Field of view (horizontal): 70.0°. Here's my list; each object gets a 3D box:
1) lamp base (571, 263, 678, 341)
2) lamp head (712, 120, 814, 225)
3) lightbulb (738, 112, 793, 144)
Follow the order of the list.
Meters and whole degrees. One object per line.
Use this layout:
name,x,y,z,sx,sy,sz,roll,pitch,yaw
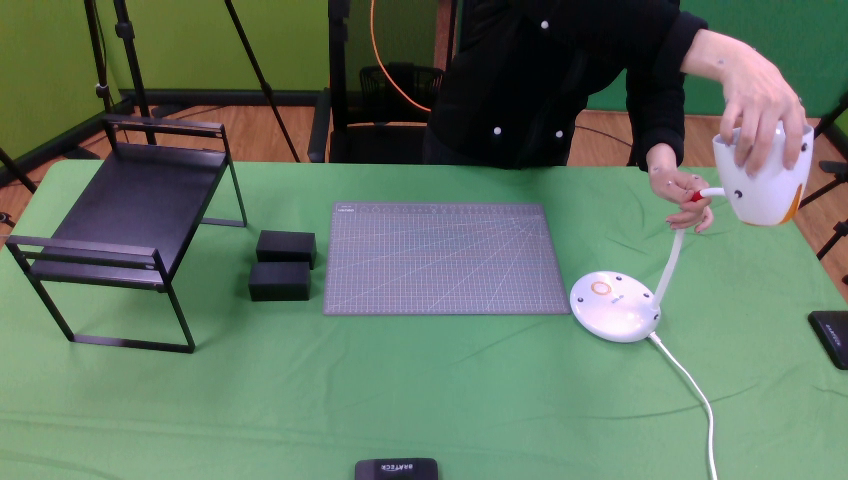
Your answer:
lamp base,0.361,0.071,1.044,0.178,0.181,0.160,38,55,26
lamp head,0.424,-0.081,0.764,0.112,0.123,0.112,-9,23,4
lightbulb,0.426,-0.104,0.754,0.059,0.108,0.059,-10,13,2
